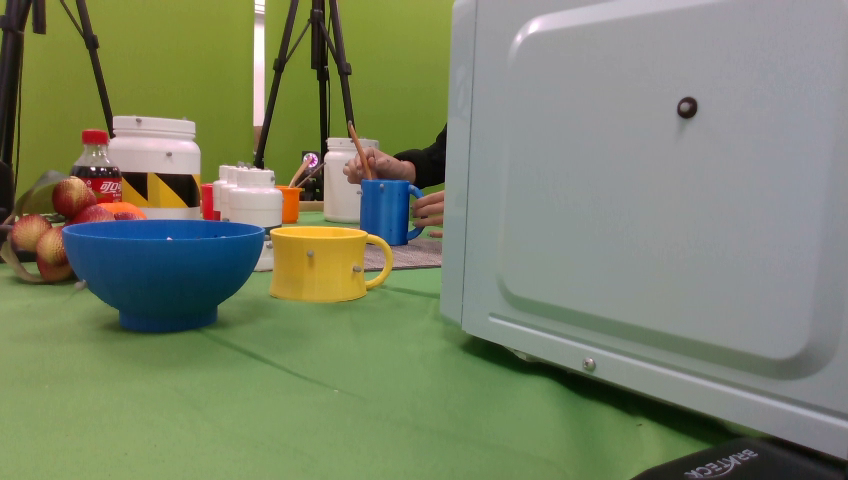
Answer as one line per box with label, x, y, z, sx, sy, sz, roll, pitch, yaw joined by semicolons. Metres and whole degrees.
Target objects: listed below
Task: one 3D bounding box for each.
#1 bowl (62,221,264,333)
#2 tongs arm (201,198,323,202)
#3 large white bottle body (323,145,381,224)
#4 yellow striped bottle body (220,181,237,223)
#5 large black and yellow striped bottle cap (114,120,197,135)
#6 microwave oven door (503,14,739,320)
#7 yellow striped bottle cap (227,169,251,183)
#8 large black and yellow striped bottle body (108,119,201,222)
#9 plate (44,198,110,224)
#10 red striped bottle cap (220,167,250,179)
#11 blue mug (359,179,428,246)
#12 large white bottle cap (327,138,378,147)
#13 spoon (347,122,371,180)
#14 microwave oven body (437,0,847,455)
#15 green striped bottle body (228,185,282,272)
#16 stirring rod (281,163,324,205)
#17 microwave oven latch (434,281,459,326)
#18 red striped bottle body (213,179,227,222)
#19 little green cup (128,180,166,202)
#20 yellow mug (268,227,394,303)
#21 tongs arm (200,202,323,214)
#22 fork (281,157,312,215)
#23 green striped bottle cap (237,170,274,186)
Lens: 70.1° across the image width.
bowl;-0.209;0.029;0.496;0.151;0.077;0.151;2;7;0
tongs arm;-0.432;-0.090;1.507;0.390;0.028;0.028;-1;2;-30
large white bottle body;-0.163;-0.134;1.369;0.131;0.184;0.130;2;8;0
yellow striped bottle body;-0.246;-0.036;0.825;0.063;0.120;0.063;3;8;0
large black and yellow striped bottle cap;-0.407;-0.171;0.920;0.115;0.019;0.115;2;9;0
microwave oven door;0.218;-0.065;0.600;0.358;0.243;0.039;-4;10;-41
yellow striped bottle cap;-0.243;-0.086;0.818;0.044;0.018;0.044;3;7;0
large black and yellow striped bottle body;-0.412;-0.088;0.930;0.131;0.184;0.130;3;7;0
plate;-0.617;-0.056;1.179;0.209;0.038;0.209;3;7;0
red striped bottle cap;-0.281;-0.100;0.901;0.044;0.017;0.044;0;5;0
blue mug;-0.050;-0.046;1.003;0.116;0.106;0.082;4;8;12
large white bottle cap;-0.160;-0.218;1.357;0.115;0.018;0.115;2;8;0
spoon;-0.097;-0.107;1.016;0.021;0.193;0.041;-15;-3;0
microwave oven body;0.279;-0.040;0.464;0.444;0.260;0.324;-3;9;-41
green striped bottle body;-0.208;-0.023;0.745;0.063;0.119;0.063;2;7;0
stirring rod;-0.278;-0.105;1.293;0.176;0.006;0.014;-47;24;-18
microwave oven latch;0.044;0.045;0.470;0.079;0.029;0.030;-3;8;-40
red striped bottle body;-0.284;-0.048;0.909;0.063;0.119;0.063;3;10;0
little green cup;-0.485;-0.087;1.062;0.061;0.038;0.061;-1;6;0
yellow mug;-0.094;0.023;0.629;0.131;0.064;0.099;0;7;-22
tongs arm;-0.378;-0.079;1.440;0.387;0.026;0.050;-4;8;-44
fork;-0.290;-0.116;1.321;0.028;0.019;0.207;7;52;18
green striped bottle cap;-0.205;-0.075;0.737;0.044;0.020;0.044;1;6;0
